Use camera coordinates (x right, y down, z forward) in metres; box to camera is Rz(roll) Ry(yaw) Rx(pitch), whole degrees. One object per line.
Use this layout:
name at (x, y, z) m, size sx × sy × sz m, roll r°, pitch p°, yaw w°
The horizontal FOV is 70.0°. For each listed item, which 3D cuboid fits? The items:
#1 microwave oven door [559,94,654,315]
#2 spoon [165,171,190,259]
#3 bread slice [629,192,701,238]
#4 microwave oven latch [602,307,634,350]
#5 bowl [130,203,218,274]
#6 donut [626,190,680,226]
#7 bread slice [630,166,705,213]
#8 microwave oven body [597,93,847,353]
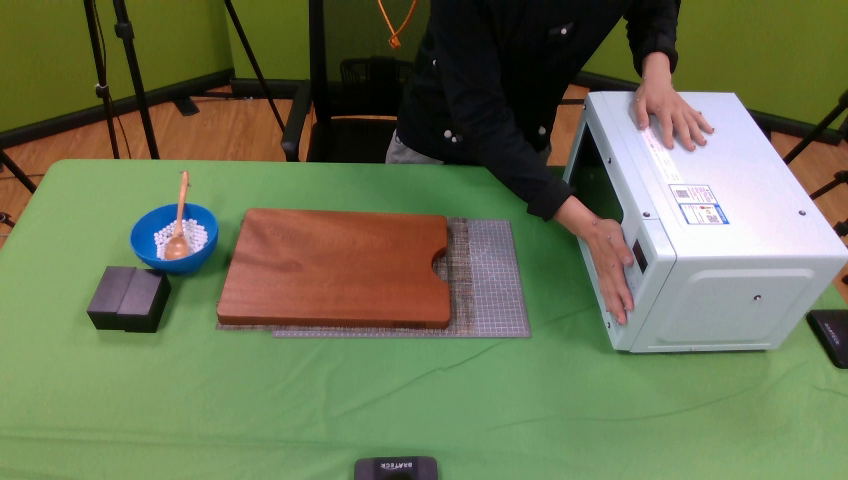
microwave oven door at (0.327, -0.074, 1.123) m, size 0.039 × 0.245 × 0.353 m, roll 0°, pitch 46°, yaw -5°
spoon at (-0.452, -0.046, 1.129) m, size 0.041 × 0.022 × 0.193 m, roll -1°, pitch 69°, yaw -1°
bread slice at (0.476, -0.049, 1.192) m, size 0.131 × 0.019 × 0.104 m, roll 13°, pitch 44°, yaw 12°
microwave oven latch at (0.332, 0.152, 1.044) m, size 0.030 × 0.029 × 0.078 m, roll -1°, pitch 45°, yaw -4°
bowl at (-0.450, 0.010, 1.116) m, size 0.151 × 0.077 × 0.150 m, roll 3°, pitch 45°, yaw -3°
donut at (0.442, -0.062, 1.171) m, size 0.099 × 0.048 × 0.098 m, roll -6°, pitch 31°, yaw 4°
bread slice at (0.459, -0.093, 1.139) m, size 0.134 × 0.018 × 0.106 m, roll 6°, pitch 43°, yaw -16°
microwave oven body at (0.476, -0.042, 1.110) m, size 0.326 × 0.261 × 0.438 m, roll -1°, pitch 45°, yaw -4°
